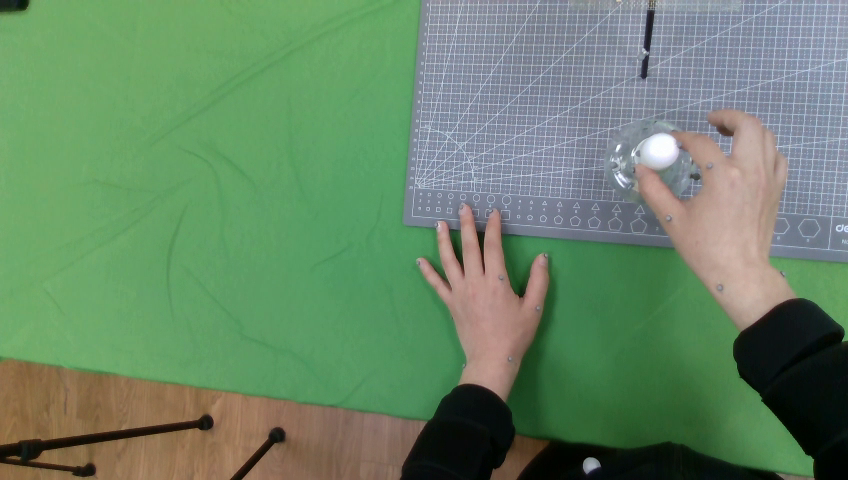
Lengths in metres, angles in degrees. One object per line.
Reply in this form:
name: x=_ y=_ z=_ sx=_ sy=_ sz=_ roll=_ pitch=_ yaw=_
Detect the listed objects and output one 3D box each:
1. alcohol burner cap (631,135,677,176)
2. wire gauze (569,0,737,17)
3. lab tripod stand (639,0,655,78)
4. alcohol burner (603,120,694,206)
alcohol burner cap: x=0.189 y=-0.071 z=0.491 sx=0.034 sy=0.048 sz=0.034 roll=0 pitch=90 yaw=11
wire gauze: x=0.175 y=-0.231 z=0.457 sx=0.125 sy=0.011 sz=0.121 roll=4 pitch=94 yaw=11
lab tripod stand: x=0.190 y=-0.229 z=0.521 sx=0.148 sy=0.132 sz=0.148 roll=0 pitch=90 yaw=12
alcohol burner: x=0.197 y=-0.069 z=0.528 sx=0.078 sy=0.119 sz=0.078 roll=0 pitch=89 yaw=12
